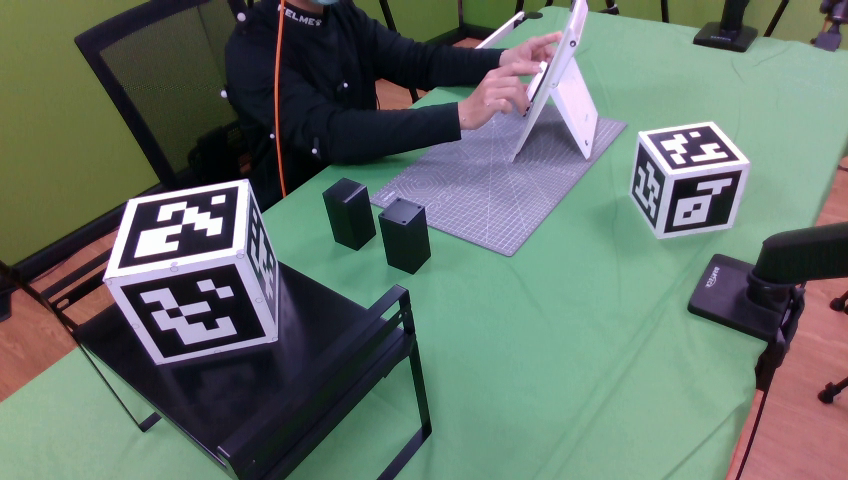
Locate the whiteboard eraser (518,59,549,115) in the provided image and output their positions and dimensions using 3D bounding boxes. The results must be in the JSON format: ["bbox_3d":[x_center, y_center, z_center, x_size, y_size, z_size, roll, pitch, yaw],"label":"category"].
[{"bbox_3d":[0.192,-0.270,1.068,0.019,0.101,0.041,24,34,1],"label":"whiteboard eraser"}]

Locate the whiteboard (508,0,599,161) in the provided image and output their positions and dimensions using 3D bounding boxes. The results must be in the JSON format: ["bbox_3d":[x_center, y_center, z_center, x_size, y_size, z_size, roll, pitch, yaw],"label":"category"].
[{"bbox_3d":[0.286,-0.289,1.089,0.144,0.305,0.217,22,45,3],"label":"whiteboard"}]
